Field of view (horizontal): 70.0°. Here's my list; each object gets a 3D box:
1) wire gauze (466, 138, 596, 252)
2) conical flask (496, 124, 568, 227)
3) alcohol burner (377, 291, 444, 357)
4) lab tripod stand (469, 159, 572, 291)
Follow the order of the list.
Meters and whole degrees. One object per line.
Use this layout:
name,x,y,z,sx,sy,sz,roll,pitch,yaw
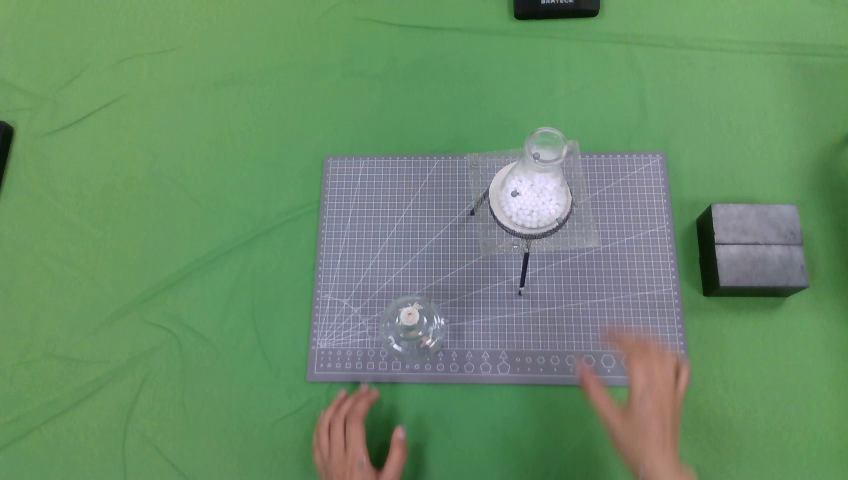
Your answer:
wire gauze,0.112,-0.047,0.640,0.125,0.011,0.120,-5,74,-2
conical flask,0.109,-0.066,0.583,0.075,0.122,0.075,-1,71,3
alcohol burner,-0.016,0.091,0.682,0.078,0.120,0.077,0,71,1
lab tripod stand,0.118,-0.029,0.702,0.148,0.132,0.147,-1,70,3
